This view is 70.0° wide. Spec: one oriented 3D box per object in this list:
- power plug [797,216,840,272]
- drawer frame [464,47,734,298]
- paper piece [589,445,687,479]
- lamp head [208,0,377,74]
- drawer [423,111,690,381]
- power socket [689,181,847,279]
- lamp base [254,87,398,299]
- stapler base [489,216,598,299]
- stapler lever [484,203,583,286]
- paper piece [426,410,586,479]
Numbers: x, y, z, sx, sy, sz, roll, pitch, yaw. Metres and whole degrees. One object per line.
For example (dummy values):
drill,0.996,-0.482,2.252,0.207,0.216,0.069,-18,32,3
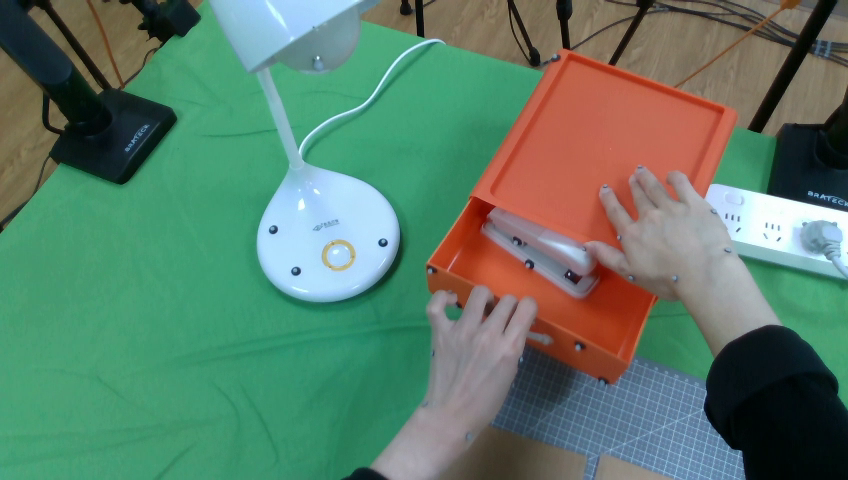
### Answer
power plug,0.400,0.007,0.624,0.035,0.053,0.072,24,65,15
drawer frame,0.177,-0.071,0.623,0.201,0.083,0.213,25,67,15
paper piece,0.200,0.268,0.525,0.135,0.004,0.135,19,64,12
lamp head,-0.089,-0.175,0.353,0.112,0.112,0.123,-37,104,-17
drawer,0.134,-0.003,0.587,0.193,0.074,0.211,26,66,16
power socket,0.401,-0.008,0.659,0.226,0.033,0.072,14,63,10
lamp base,-0.120,-0.054,0.619,0.160,0.182,0.177,-30,61,-14
stapler base,0.113,0.004,0.599,0.041,0.024,0.129,-50,57,8
stapler lever,0.103,0.000,0.584,0.117,0.040,0.027,44,99,25
paper piece,0.065,0.237,0.548,0.135,0.009,0.137,14,64,14
